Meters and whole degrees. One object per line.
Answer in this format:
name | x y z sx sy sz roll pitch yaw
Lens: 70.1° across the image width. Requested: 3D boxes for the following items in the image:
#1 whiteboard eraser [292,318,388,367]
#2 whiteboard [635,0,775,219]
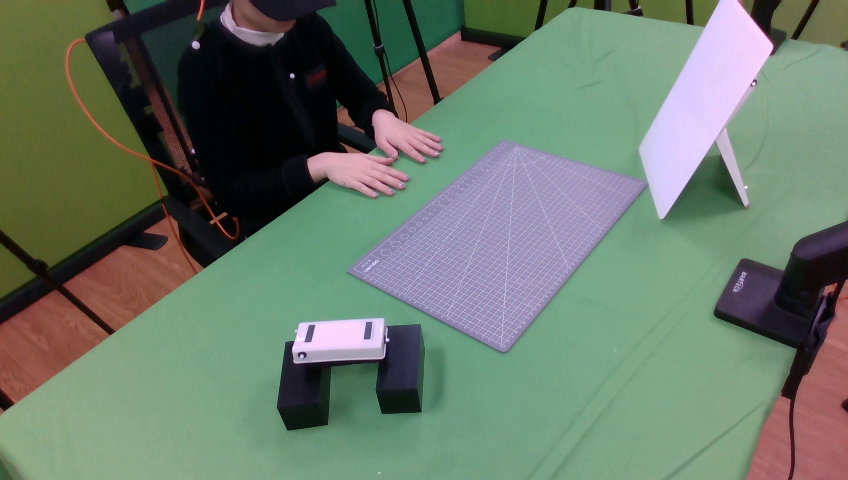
whiteboard eraser | -0.103 0.128 0.748 0.113 0.042 0.055 -3 38 2
whiteboard | 0.486 -0.192 0.956 0.144 0.305 0.216 14 41 -4
